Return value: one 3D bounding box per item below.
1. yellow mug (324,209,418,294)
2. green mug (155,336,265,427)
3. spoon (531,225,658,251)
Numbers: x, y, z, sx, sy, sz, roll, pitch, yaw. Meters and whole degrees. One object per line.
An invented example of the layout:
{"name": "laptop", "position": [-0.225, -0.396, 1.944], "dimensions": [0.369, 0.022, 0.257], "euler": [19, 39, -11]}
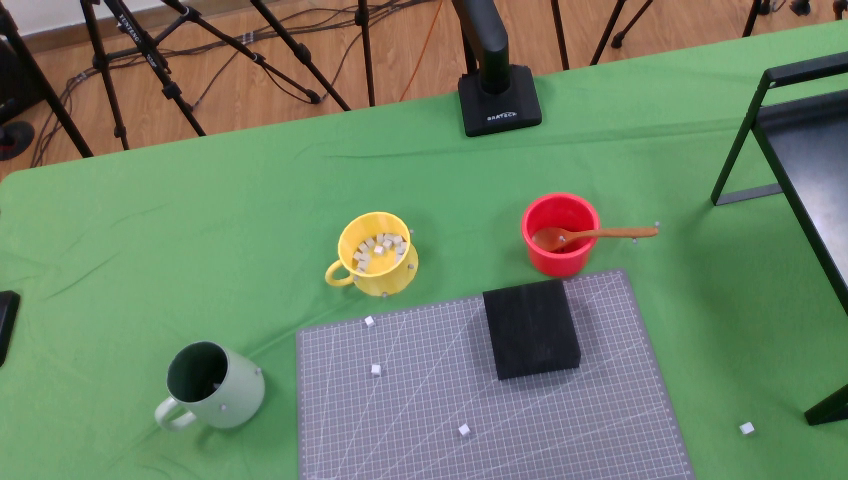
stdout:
{"name": "yellow mug", "position": [-0.076, 0.024, 0.829], "dimensions": [0.131, 0.064, 0.099], "euler": [-28, 61, -5]}
{"name": "green mug", "position": [-0.270, 0.185, 0.752], "dimensions": [0.125, 0.106, 0.091], "euler": [-39, 63, -12]}
{"name": "spoon", "position": [0.205, -0.006, 0.752], "dimensions": [0.193, 0.022, 0.041], "euler": [-6, 51, 59]}
